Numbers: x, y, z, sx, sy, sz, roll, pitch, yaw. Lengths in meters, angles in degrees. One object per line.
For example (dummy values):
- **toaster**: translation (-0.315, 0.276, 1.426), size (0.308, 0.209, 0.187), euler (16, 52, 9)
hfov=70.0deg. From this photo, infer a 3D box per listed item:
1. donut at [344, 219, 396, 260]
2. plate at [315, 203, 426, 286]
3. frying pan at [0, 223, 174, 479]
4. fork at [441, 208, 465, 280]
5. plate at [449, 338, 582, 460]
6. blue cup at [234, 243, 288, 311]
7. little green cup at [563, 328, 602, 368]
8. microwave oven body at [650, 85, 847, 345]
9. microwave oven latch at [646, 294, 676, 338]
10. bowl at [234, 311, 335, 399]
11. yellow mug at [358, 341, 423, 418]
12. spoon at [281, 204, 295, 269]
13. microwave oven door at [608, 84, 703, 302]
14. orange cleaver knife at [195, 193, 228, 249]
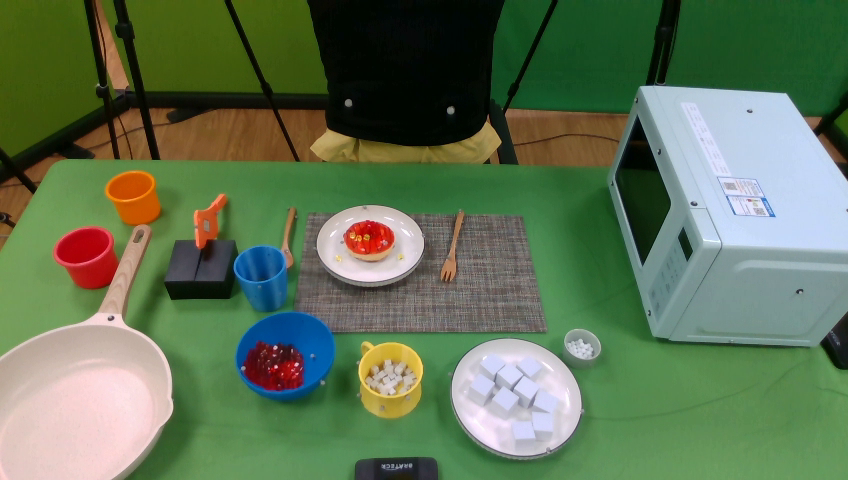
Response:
- **donut**: translation (-0.103, -0.002, 1.158), size (0.099, 0.048, 0.098), euler (2, 43, -2)
- **plate**: translation (-0.101, 0.012, 1.159), size (0.209, 0.038, 0.208), euler (2, 46, -2)
- **frying pan**: translation (-0.505, 0.169, 0.941), size (0.307, 0.103, 0.485), euler (5, 54, -1)
- **fork**: translation (0.061, 0.005, 1.190), size (0.028, 0.019, 0.206), euler (2, 47, 14)
- **plate**: translation (0.141, 0.251, 0.955), size (0.208, 0.039, 0.206), euler (2, 46, -2)
- **blue cup**: translation (-0.276, 0.072, 1.052), size (0.093, 0.101, 0.092), euler (1, 48, -1)
- **little green cup**: translation (0.265, 0.184, 1.025), size (0.061, 0.039, 0.061), euler (1, 46, -1)
- **microwave oven body**: translation (0.569, -0.054, 1.116), size (0.326, 0.261, 0.439), euler (2, 46, -1)
- **microwave oven latch**: translation (0.413, 0.133, 1.061), size (0.030, 0.029, 0.078), euler (3, 46, 0)
- **bowl**: translation (-0.214, 0.194, 0.956), size (0.151, 0.077, 0.150), euler (2, 46, -2)
- **yellow mug**: translation (-0.063, 0.210, 0.961), size (0.100, 0.064, 0.130), euler (-29, 54, -28)
- **spoon**: translation (-0.266, -0.008, 1.182), size (0.041, 0.022, 0.192), euler (-16, 46, 13)
- **microwave oven door**: translation (0.424, -0.096, 1.138), size (0.039, 0.245, 0.353), euler (3, 46, -1)
- **orange cleaver knife**: translation (-0.406, -0.041, 1.163), size (0.012, 0.077, 0.210), euler (-1, 18, -3)
